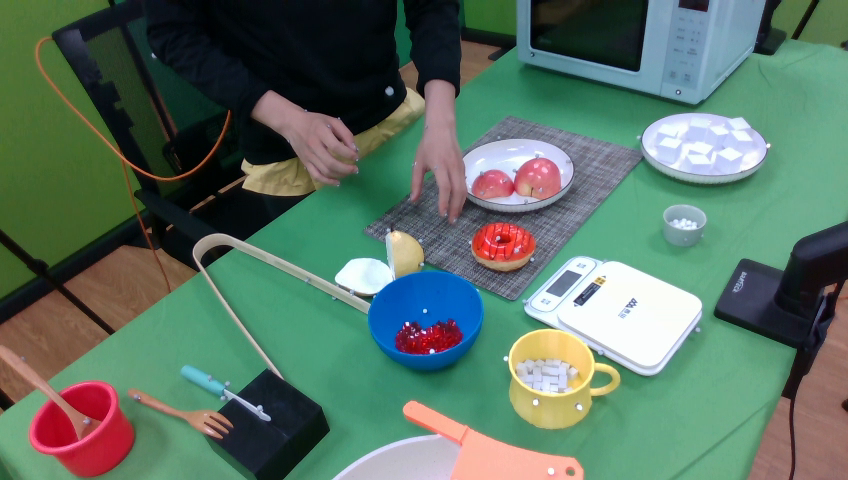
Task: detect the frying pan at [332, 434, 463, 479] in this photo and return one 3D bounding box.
[{"bbox_3d":[-0.089,0.306,0.564,0.487,0.103,0.306,10,41,7],"label":"frying pan"}]

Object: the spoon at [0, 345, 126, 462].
[{"bbox_3d":[-0.434,0.192,0.720,0.194,0.021,0.042,47,53,-7],"label":"spoon"}]

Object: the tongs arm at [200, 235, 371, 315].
[{"bbox_3d":[-0.209,0.062,0.924,0.381,0.027,0.051,23,54,32],"label":"tongs arm"}]

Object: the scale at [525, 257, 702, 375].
[{"bbox_3d":[0.254,0.091,0.821,0.199,0.032,0.149,28,51,35],"label":"scale"}]

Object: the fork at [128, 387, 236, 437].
[{"bbox_3d":[-0.305,0.207,0.744,0.206,0.019,0.028,3,41,36],"label":"fork"}]

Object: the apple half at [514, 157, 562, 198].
[{"bbox_3d":[0.196,-0.113,1.032,0.080,0.053,0.075,16,44,30],"label":"apple half"}]

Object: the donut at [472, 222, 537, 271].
[{"bbox_3d":[0.123,0.008,0.923,0.099,0.048,0.098,-3,38,3],"label":"donut"}]

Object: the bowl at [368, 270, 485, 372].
[{"bbox_3d":[0.007,0.118,0.791,0.151,0.077,0.150,-5,39,4],"label":"bowl"}]

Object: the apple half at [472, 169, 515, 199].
[{"bbox_3d":[0.119,-0.106,1.056,0.081,0.033,0.081,-3,40,3],"label":"apple half"}]

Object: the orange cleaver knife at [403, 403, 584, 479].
[{"bbox_3d":[0.062,0.223,0.610,0.210,0.012,0.077,15,47,25],"label":"orange cleaver knife"}]

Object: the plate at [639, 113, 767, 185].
[{"bbox_3d":[0.489,-0.157,1.074,0.207,0.039,0.206,-4,40,4],"label":"plate"}]

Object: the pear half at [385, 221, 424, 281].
[{"bbox_3d":[-0.030,0.013,0.897,0.056,0.110,0.075,-17,45,-12],"label":"pear half"}]

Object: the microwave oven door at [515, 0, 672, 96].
[{"bbox_3d":[0.343,-0.455,1.259,0.353,0.245,0.039,26,51,33],"label":"microwave oven door"}]

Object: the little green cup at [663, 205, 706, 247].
[{"bbox_3d":[0.396,-0.020,0.926,0.061,0.039,0.061,-4,40,4],"label":"little green cup"}]

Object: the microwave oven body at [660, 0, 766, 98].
[{"bbox_3d":[0.472,-0.513,1.317,0.438,0.261,0.327,26,51,34],"label":"microwave oven body"}]

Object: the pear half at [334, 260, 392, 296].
[{"bbox_3d":[-0.093,0.063,0.907,0.088,0.031,0.070,-9,40,-24],"label":"pear half"}]

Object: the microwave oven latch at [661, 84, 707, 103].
[{"bbox_3d":[0.517,-0.296,1.204,0.078,0.029,0.030,27,52,34],"label":"microwave oven latch"}]

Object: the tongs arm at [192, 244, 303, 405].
[{"bbox_3d":[-0.268,0.111,0.884,0.028,0.028,0.384,-36,47,-17],"label":"tongs arm"}]

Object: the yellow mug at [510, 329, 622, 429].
[{"bbox_3d":[0.168,0.164,0.721,0.130,0.064,0.099,0,40,8],"label":"yellow mug"}]

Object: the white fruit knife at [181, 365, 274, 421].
[{"bbox_3d":[-0.245,0.187,0.747,0.205,0.027,0.016,9,41,41],"label":"white fruit knife"}]

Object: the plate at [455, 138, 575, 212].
[{"bbox_3d":[0.159,-0.111,1.063,0.209,0.038,0.208,-4,40,4],"label":"plate"}]
